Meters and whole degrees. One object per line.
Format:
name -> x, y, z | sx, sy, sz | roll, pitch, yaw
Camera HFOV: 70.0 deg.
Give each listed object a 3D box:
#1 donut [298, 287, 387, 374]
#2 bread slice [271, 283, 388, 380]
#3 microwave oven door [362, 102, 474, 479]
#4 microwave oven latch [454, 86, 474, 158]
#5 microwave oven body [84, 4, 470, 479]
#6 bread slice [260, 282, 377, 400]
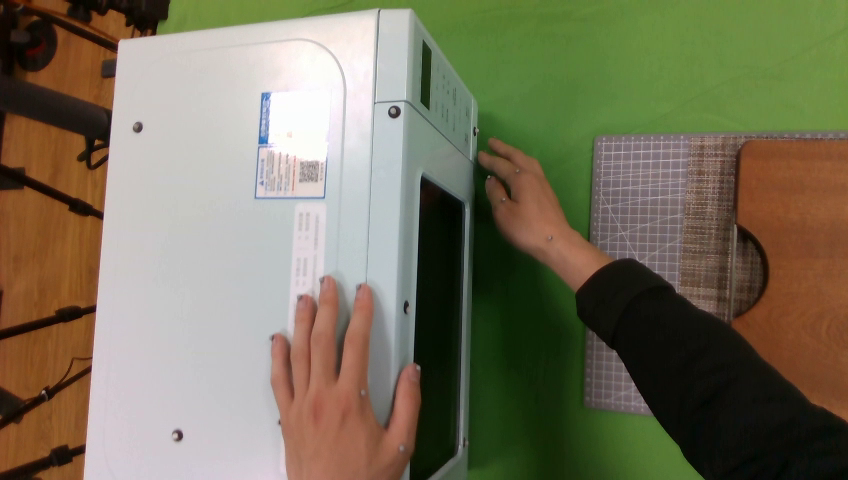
donut -> -0.089, 0.097, 0.653 | 0.099, 0.048, 0.099 | 2, 105, 7
bread slice -> -0.111, 0.103, 0.694 | 0.131, 0.019, 0.105 | 6, 97, 6
microwave oven door -> 0.001, 0.075, 0.582 | 0.039, 0.245, 0.355 | 0, 85, 19
microwave oven latch -> 0.043, -0.134, 0.693 | 0.030, 0.029, 0.079 | 1, 87, 18
microwave oven body -> -0.134, 0.033, 0.635 | 0.325, 0.261, 0.441 | 0, 86, 18
bread slice -> -0.110, 0.110, 0.608 | 0.134, 0.018, 0.106 | -20, 83, 29
